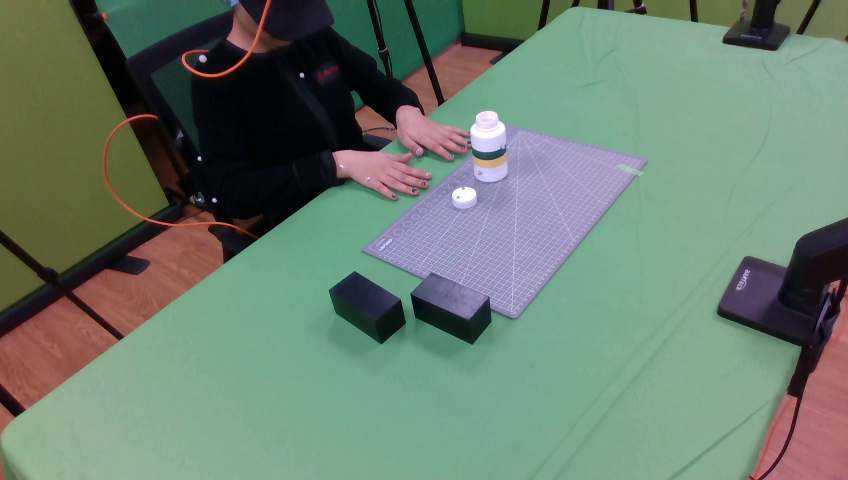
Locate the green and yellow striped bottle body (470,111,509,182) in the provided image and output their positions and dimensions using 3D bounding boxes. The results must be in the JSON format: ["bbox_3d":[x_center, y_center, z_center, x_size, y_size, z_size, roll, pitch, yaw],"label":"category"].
[{"bbox_3d":[0.117,-0.169,1.079,0.063,0.120,0.063,-6,40,5],"label":"green and yellow striped bottle body"}]

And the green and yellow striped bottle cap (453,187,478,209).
[{"bbox_3d":[0.072,-0.074,1.057,0.045,0.020,0.045,-7,39,6],"label":"green and yellow striped bottle cap"}]
